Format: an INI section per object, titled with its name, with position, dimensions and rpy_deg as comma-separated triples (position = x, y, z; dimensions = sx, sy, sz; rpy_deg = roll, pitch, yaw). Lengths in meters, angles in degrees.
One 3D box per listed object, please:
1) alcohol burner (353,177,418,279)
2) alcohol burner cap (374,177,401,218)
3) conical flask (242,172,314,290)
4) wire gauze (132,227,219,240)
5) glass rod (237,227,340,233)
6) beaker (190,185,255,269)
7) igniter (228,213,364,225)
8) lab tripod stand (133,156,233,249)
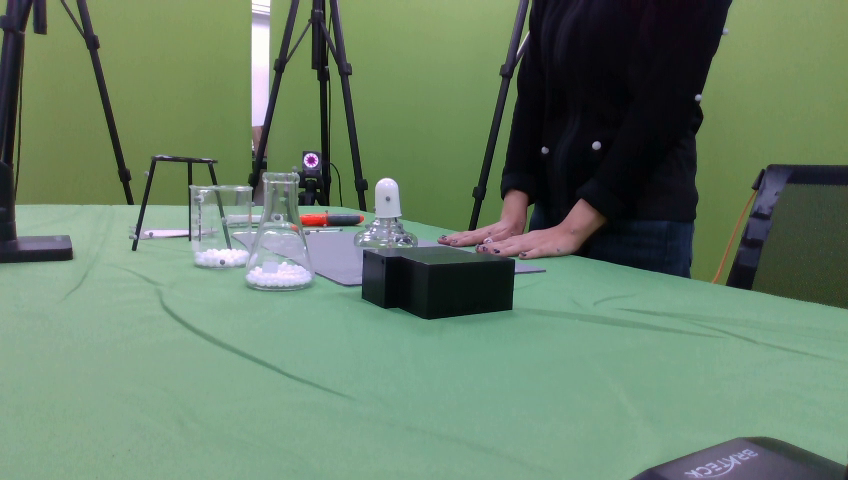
[alcohol burner]
position = -0.044, -0.014, 0.710
dimensions = 0.078, 0.119, 0.078
rpy_deg = 4, 9, 0
[alcohol burner cap]
position = -0.044, -0.049, 0.704
dimensions = 0.034, 0.048, 0.034
rpy_deg = -4, 10, 1
[conical flask]
position = -0.154, -0.011, 0.643
dimensions = 0.075, 0.122, 0.075
rpy_deg = 2, 7, 0
[wire gauze]
position = -0.421, -0.014, 1.024
dimensions = 0.122, 0.011, 0.124
rpy_deg = -2, 7, -34
[glass rod]
position = -0.247, -0.020, 1.124
dimensions = 0.201, 0.008, 0.008
rpy_deg = -2, 8, -34
[beaker]
position = -0.253, -0.018, 0.754
dimensions = 0.083, 0.100, 0.074
rpy_deg = 6, 8, 32
[igniter]
position = -0.252, -0.043, 1.227
dimensions = 0.278, 0.025, 0.057
rpy_deg = -2, -2, -32
[lab tripod stand]
position = -0.342, -0.054, 0.878
dimensions = 0.148, 0.131, 0.148
rpy_deg = 4, 6, 0
